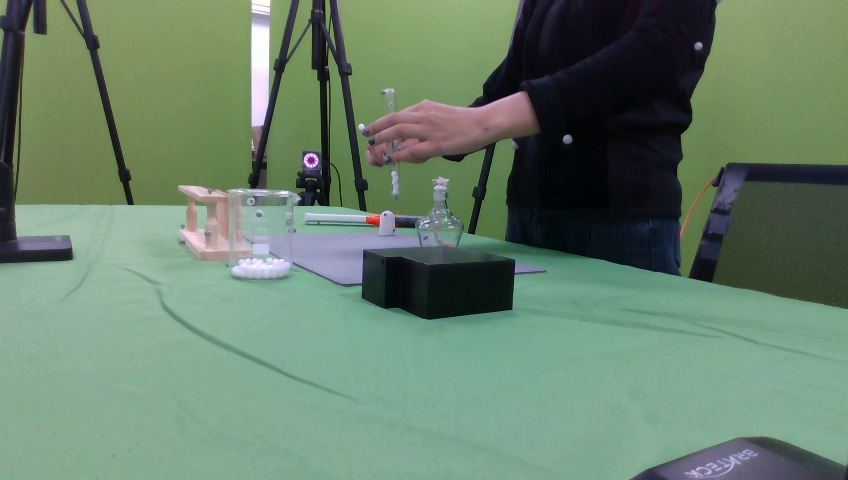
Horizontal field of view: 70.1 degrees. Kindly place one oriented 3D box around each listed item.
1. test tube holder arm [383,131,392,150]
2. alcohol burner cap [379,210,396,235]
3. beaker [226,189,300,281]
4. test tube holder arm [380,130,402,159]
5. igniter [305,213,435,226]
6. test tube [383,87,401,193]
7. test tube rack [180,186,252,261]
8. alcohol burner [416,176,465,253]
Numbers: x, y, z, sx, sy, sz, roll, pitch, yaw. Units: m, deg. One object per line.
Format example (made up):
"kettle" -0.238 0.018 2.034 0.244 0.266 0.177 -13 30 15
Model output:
"test tube holder arm" -0.052 -0.144 0.882 0.010 0.015 0.088 -6 0 -1
"alcohol burner cap" -0.067 -0.033 1.129 0.034 0.048 0.034 2 7 0
"beaker" -0.184 -0.007 0.694 0.084 0.100 0.073 -1 8 -29
"test tube holder arm" -0.052 -0.144 0.928 0.013 0.015 0.178 -6 0 -9
"igniter" -0.114 -0.046 1.296 0.277 0.025 0.057 1 -2 -11
"test tube" -0.045 -0.141 0.860 0.017 0.150 0.017 -4 4 1
"test tube rack" -0.312 -0.031 0.893 0.067 0.085 0.241 -1 8 -27
"alcohol burner" 0.025 -0.040 0.935 0.078 0.119 0.078 1 6 0
